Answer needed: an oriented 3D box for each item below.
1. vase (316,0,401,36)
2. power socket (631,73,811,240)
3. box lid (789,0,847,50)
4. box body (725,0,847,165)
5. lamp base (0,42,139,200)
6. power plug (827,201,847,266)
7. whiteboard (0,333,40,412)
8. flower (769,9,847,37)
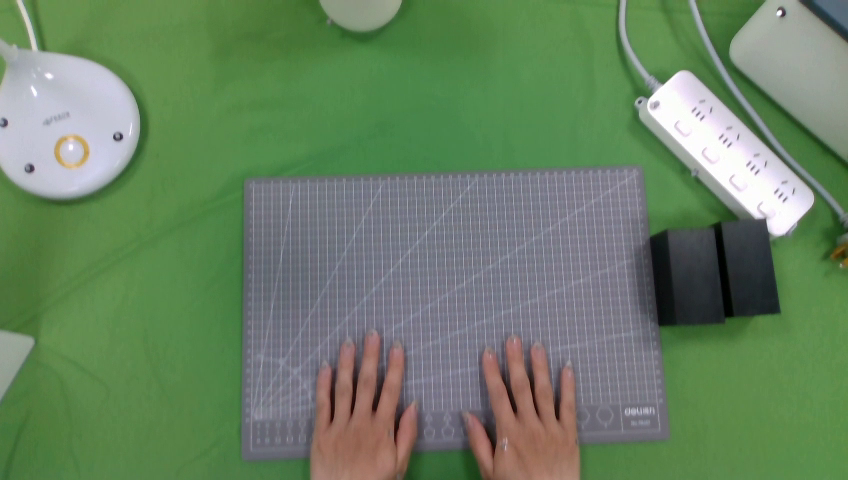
[{"bbox_3d":[-0.073,-0.297,0.624,0.098,0.200,0.098,0,79,-2],"label":"vase"},{"bbox_3d":[0.336,-0.095,0.685,0.072,0.033,0.226,-42,83,-8],"label":"power socket"},{"bbox_3d":[0.551,-0.211,0.570,0.370,0.015,0.263,42,83,5],"label":"box lid"},{"bbox_3d":[0.549,-0.199,0.642,0.363,0.161,0.254,42,82,5],"label":"box body"},{"bbox_3d":[-0.404,-0.146,0.597,0.160,0.181,0.178,-33,80,-7],"label":"lamp base"},{"bbox_3d":[0.467,-0.003,0.683,0.052,0.035,0.071,-31,42,1],"label":"power plug"},{"bbox_3d":[-0.555,0.127,0.514,0.143,0.308,0.216,24,80,23],"label":"whiteboard"},{"bbox_3d":[0.592,-0.215,0.717,0.359,0.038,0.044,30,71,22],"label":"flower"}]
